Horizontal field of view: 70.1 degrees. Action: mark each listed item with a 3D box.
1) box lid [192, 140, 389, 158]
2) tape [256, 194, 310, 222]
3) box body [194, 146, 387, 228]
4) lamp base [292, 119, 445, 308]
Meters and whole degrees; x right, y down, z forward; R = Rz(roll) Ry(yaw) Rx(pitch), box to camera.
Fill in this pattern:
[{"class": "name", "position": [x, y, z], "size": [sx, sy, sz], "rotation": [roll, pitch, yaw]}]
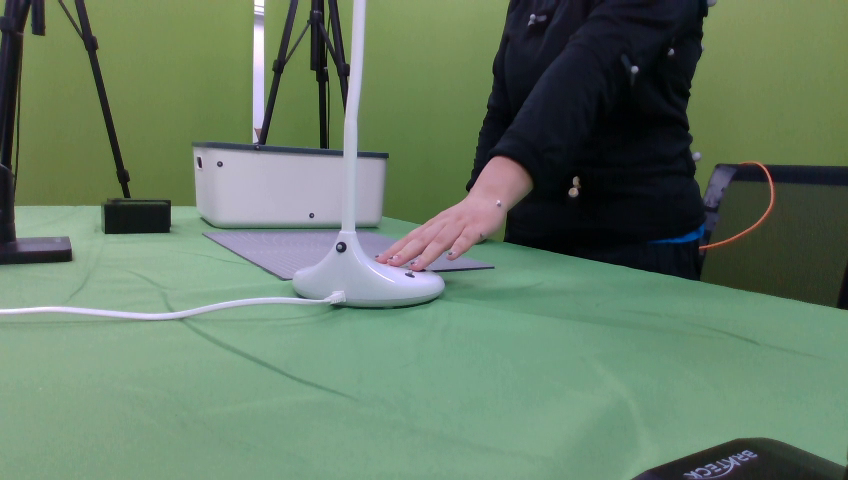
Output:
[{"class": "box lid", "position": [-0.287, -0.190, 1.281], "size": [0.373, 0.015, 0.262], "rotation": [0, 8, -28]}, {"class": "tape", "position": [-0.301, -0.069, 1.294], "size": [0.117, 0.052, 0.117], "rotation": [2, 7, 0]}, {"class": "box body", "position": [-0.288, -0.118, 1.291], "size": [0.366, 0.160, 0.253], "rotation": [-1, 8, -28]}, {"class": "lamp base", "position": [-0.057, -0.030, 0.616], "size": [0.160, 0.180, 0.179], "rotation": [3, 10, 8]}]
